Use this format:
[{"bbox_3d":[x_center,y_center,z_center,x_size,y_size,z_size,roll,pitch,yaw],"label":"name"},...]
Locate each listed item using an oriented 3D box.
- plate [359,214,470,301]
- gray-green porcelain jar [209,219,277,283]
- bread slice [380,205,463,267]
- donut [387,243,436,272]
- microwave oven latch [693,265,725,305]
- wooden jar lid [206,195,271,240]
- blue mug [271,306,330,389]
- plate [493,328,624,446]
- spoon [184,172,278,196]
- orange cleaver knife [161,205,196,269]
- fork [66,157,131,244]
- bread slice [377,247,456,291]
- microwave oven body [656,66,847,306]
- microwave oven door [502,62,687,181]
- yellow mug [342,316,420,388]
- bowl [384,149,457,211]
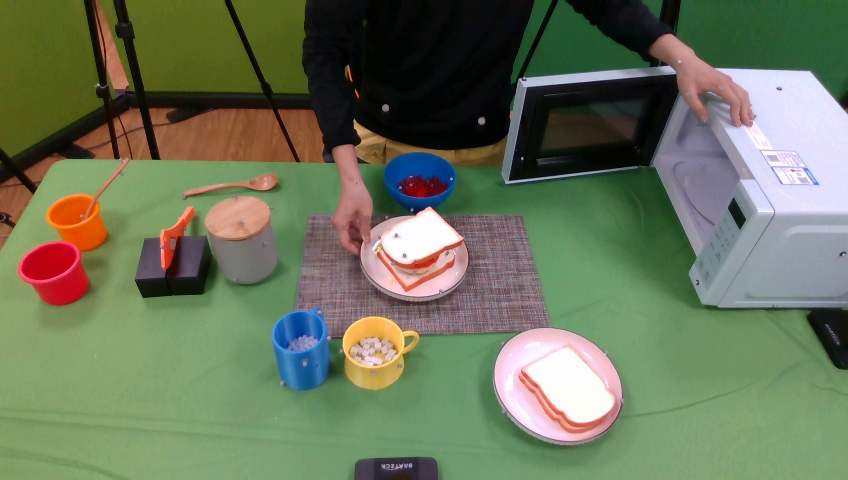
[{"bbox_3d":[-0.018,0.035,1.140,0.209,0.038,0.208,3,47,-3],"label":"plate"},{"bbox_3d":[-0.323,0.007,1.092,0.106,0.127,0.105,2,46,-2],"label":"gray-green porcelain jar"},{"bbox_3d":[-0.010,-0.003,1.096,0.134,0.018,0.106,-31,52,-23],"label":"bread slice"},{"bbox_3d":[-0.022,0.016,1.119,0.099,0.048,0.098,-9,49,10],"label":"donut"},{"bbox_3d":[0.523,0.082,1.116,0.030,0.029,0.078,2,46,-1],"label":"microwave oven latch"},{"bbox_3d":[-0.319,-0.036,1.046,0.108,0.021,0.107,1,44,0],"label":"wooden jar lid"},{"bbox_3d":[-0.188,0.163,0.969,0.082,0.106,0.116,15,47,10],"label":"blue mug"},{"bbox_3d":[0.213,0.236,0.974,0.208,0.039,0.206,2,46,-2],"label":"plate"},{"bbox_3d":[-0.405,-0.116,1.275,0.194,0.022,0.041,-8,66,-12],"label":"spoon"},{"bbox_3d":[-0.454,-0.010,1.129,0.012,0.077,0.210,-1,20,-5],"label":"orange cleaver knife"},{"bbox_3d":[-0.608,-0.074,1.132,0.207,0.019,0.028,-52,48,10],"label":"fork"},{"bbox_3d":[-0.008,0.031,1.147,0.131,0.019,0.104,-27,56,-25],"label":"bread slice"},{"bbox_3d":[0.669,-0.111,1.176,0.326,0.261,0.439,0,46,-3],"label":"microwave oven body"},{"bbox_3d":[0.353,-0.247,1.277,0.356,0.245,0.039,-8,48,-11],"label":"microwave oven door"},{"bbox_3d":[-0.068,0.177,0.990,0.131,0.064,0.099,-15,50,-19],"label":"yellow mug"},{"bbox_3d":[-0.009,-0.112,1.262,0.151,0.077,0.150,2,46,-2],"label":"bowl"}]
